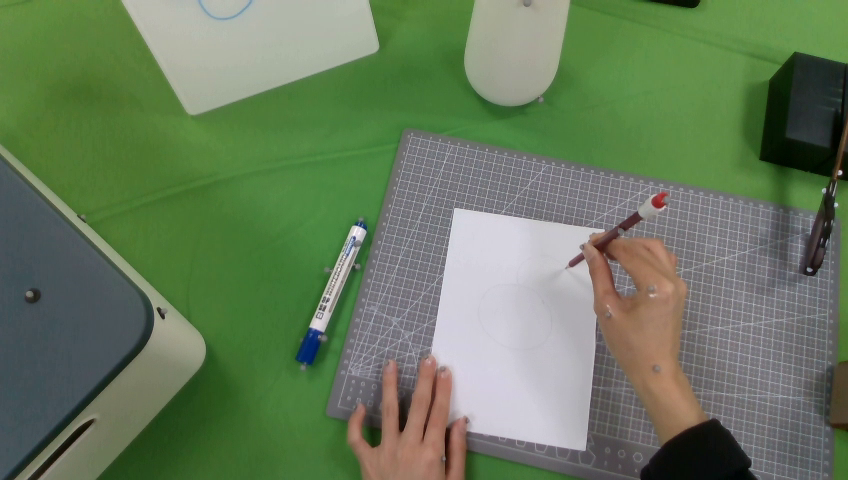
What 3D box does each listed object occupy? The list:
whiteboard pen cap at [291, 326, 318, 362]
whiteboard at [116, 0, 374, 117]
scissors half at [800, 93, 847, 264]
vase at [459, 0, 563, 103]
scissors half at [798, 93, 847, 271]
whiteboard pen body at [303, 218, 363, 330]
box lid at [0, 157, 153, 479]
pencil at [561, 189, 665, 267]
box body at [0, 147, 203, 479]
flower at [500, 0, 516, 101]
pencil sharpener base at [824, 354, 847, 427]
[{"bbox_3d":[-0.109,0.095,0.559,0.018,0.018,0.033,18,69,6],"label":"whiteboard pen cap"},{"bbox_3d":[-0.197,-0.309,0.570,0.217,0.308,0.142,-21,54,-6],"label":"whiteboard"},{"bbox_3d":[0.374,-0.060,0.560,0.013,0.040,0.174,15,75,24],"label":"scissors half"},{"bbox_3d":[0.083,-0.215,0.565,0.098,0.201,0.097,0,71,1],"label":"vase"},{"bbox_3d":[0.383,-0.055,0.578,0.012,0.040,0.175,14,92,30],"label":"scissors half"},{"bbox_3d":[-0.090,0.042,0.578,0.017,0.017,0.140,19,71,6],"label":"whiteboard pen body"},{"bbox_3d":[-0.403,0.033,0.427,0.370,0.015,0.263,39,76,11],"label":"box lid"},{"bbox_3d":[0.146,-0.002,0.496,0.012,0.195,0.012,2,73,-6],"label":"pencil"},{"bbox_3d":[-0.401,0.058,0.498,0.362,0.161,0.254,39,77,11],"label":"box body"},{"bbox_3d":[0.079,-0.254,0.490,0.044,0.365,0.038,6,55,6],"label":"flower"},{"bbox_3d":[0.405,0.130,0.504,0.076,0.107,0.061,16,72,2],"label":"pencil sharpener base"}]
